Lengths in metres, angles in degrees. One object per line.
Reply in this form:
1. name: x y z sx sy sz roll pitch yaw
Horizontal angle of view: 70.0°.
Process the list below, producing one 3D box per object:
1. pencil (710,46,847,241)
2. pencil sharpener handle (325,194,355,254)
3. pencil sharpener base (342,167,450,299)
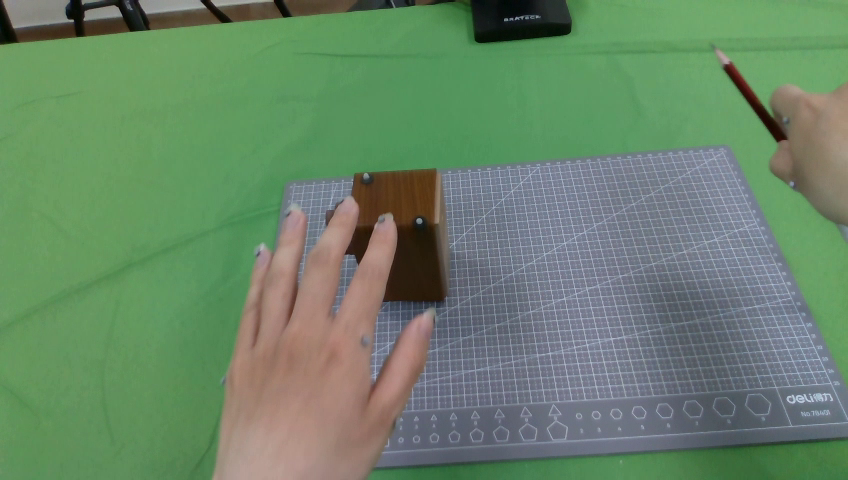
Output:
1. pencil: 0.269 -0.067 0.446 0.012 0.012 0.194 -43 96 -24
2. pencil sharpener handle: -0.072 -0.009 0.494 0.030 0.068 0.035 -2 56 6
3. pencil sharpener base: -0.020 -0.002 0.498 0.076 0.108 0.061 -2 52 6
